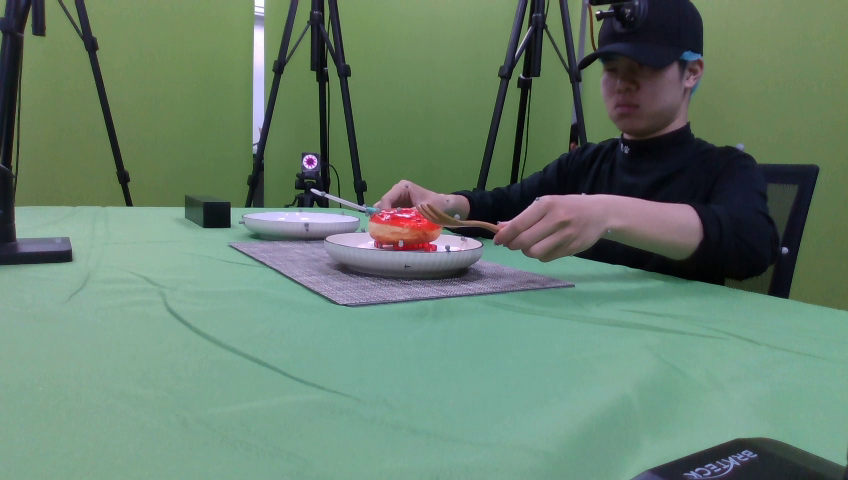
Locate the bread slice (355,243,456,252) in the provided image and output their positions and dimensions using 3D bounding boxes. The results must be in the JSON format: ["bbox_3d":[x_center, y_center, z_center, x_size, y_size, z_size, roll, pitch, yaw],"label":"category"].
[{"bbox_3d":[-0.027,0.020,0.794,0.131,0.019,0.105,6,7,17],"label":"bread slice"}]

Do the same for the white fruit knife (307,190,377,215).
[{"bbox_3d":[-0.090,-0.045,0.924,0.208,0.016,0.027,18,-12,-40],"label":"white fruit knife"}]

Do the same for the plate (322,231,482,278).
[{"bbox_3d":[-0.028,0.018,0.789,0.209,0.038,0.209,3,7,0],"label":"plate"}]

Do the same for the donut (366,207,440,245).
[{"bbox_3d":[-0.027,-0.017,0.786,0.099,0.048,0.099,2,7,0],"label":"donut"}]

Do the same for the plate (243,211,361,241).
[{"bbox_3d":[-0.219,-0.025,1.092,0.208,0.039,0.207,3,7,0],"label":"plate"}]

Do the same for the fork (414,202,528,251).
[{"bbox_3d":[0.061,-0.010,0.691,0.208,0.018,0.028,13,32,-44],"label":"fork"}]
